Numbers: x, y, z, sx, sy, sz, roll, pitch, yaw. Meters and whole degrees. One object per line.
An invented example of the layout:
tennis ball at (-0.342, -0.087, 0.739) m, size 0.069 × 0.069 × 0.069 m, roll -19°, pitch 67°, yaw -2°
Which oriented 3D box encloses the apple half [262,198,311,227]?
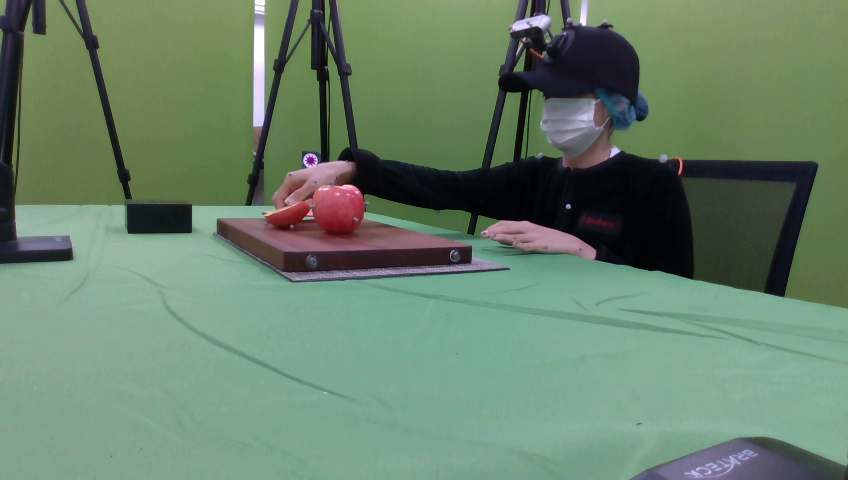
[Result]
apple half at (-0.210, -0.039, 0.949) m, size 0.081 × 0.033 × 0.081 m, roll -17°, pitch 9°, yaw 3°

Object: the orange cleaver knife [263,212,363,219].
orange cleaver knife at (-0.192, -0.045, 1.097) m, size 0.212 × 0.012 × 0.077 m, roll 0°, pitch 4°, yaw -38°

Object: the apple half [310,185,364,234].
apple half at (-0.123, -0.045, 0.906) m, size 0.081 × 0.074 × 0.053 m, roll 2°, pitch 10°, yaw -42°
